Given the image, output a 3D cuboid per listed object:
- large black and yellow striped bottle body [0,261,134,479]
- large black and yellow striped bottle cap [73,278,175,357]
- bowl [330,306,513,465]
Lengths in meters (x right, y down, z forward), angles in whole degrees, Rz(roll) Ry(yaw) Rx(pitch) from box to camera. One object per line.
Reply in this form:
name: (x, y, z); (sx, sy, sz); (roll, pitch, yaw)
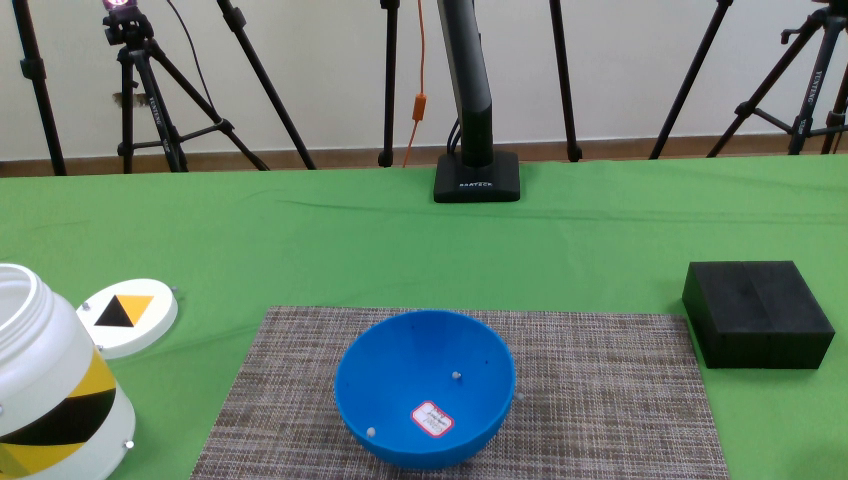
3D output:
large black and yellow striped bottle body: (-0.340, 0.121, 0.504); (0.131, 0.186, 0.129); (-4, 38, 3)
large black and yellow striped bottle cap: (-0.345, 0.085, 0.690); (0.115, 0.019, 0.114); (-2, 38, 2)
bowl: (0.001, 0.136, 0.521); (0.151, 0.077, 0.150); (-3, 38, 3)
